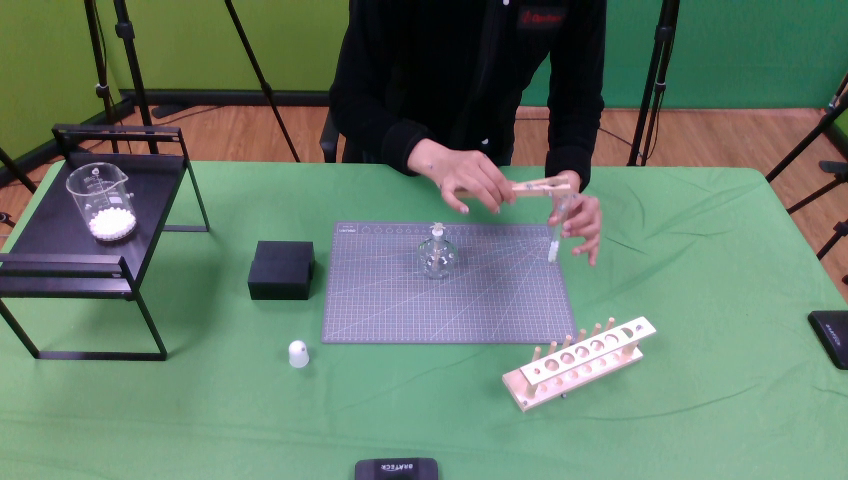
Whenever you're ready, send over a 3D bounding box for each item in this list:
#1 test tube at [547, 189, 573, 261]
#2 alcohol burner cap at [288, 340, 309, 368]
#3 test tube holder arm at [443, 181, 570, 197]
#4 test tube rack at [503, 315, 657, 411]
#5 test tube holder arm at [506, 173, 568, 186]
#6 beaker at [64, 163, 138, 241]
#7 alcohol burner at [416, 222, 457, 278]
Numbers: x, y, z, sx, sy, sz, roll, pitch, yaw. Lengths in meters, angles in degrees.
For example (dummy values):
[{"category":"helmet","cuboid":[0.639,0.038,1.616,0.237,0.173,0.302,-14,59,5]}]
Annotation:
[{"category":"test tube","cuboid":[0.203,-0.019,0.911,0.017,0.151,0.017,0,48,0]},{"category":"alcohol burner cap","cuboid":[-0.206,0.183,0.991,0.034,0.048,0.033,3,47,-3]},{"category":"test tube holder arm","cuboid":[0.115,-0.072,0.857,0.178,0.015,0.013,-3,40,8]},{"category":"test tube rack","cuboid":[0.253,0.186,0.988,0.242,0.085,0.066,-18,51,-20]},{"category":"test tube holder arm","cuboid":[0.159,-0.080,0.857,0.088,0.015,0.010,-10,41,0]},{"category":"beaker","cuboid":[-0.477,-0.055,0.910,0.084,0.101,0.073,-9,48,-13]},{"category":"alcohol burner","cuboid":[0.024,0.014,1.116,0.078,0.120,0.077,1,45,-1]}]
